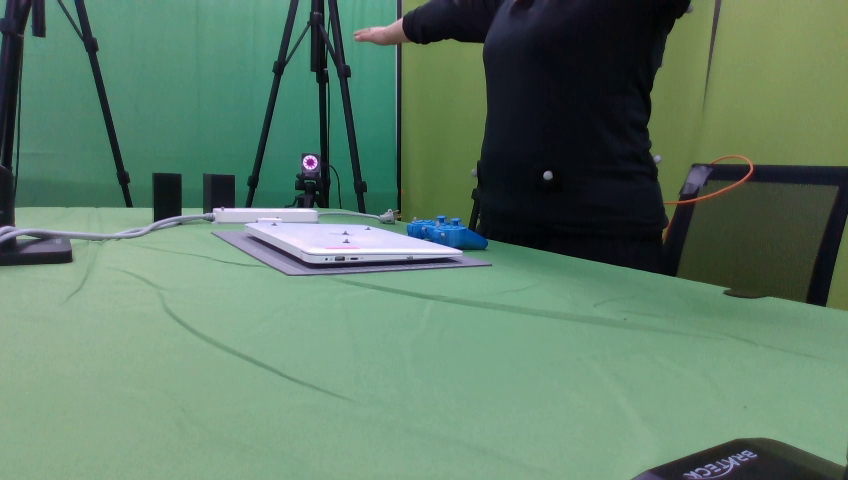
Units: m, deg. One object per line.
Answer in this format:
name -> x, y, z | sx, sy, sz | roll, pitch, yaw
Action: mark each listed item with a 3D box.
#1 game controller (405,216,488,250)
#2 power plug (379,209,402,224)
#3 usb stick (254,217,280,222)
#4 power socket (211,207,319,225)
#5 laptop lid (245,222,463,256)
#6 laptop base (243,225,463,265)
game controller -> 0.034, -0.013, 1.067 | 0.097, 0.051, 0.154 | -6, 10, -29
power plug -> -0.081, -0.061, 1.421 | 0.053, 0.035, 0.072 | -16, 21, -6
usb stick -> -0.296, -0.028, 1.114 | 0.059, 0.027, 0.021 | -4, 11, -30
power socket -> -0.335, -0.051, 1.281 | 0.228, 0.032, 0.072 | -2, 9, -29
laptop lid -> -0.126, -0.005, 0.951 | 0.243, 0.013, 0.355 | 1, 7, -28
laptop base -> -0.129, 0.007, 0.952 | 0.237, 0.023, 0.352 | 2, 6, -30
